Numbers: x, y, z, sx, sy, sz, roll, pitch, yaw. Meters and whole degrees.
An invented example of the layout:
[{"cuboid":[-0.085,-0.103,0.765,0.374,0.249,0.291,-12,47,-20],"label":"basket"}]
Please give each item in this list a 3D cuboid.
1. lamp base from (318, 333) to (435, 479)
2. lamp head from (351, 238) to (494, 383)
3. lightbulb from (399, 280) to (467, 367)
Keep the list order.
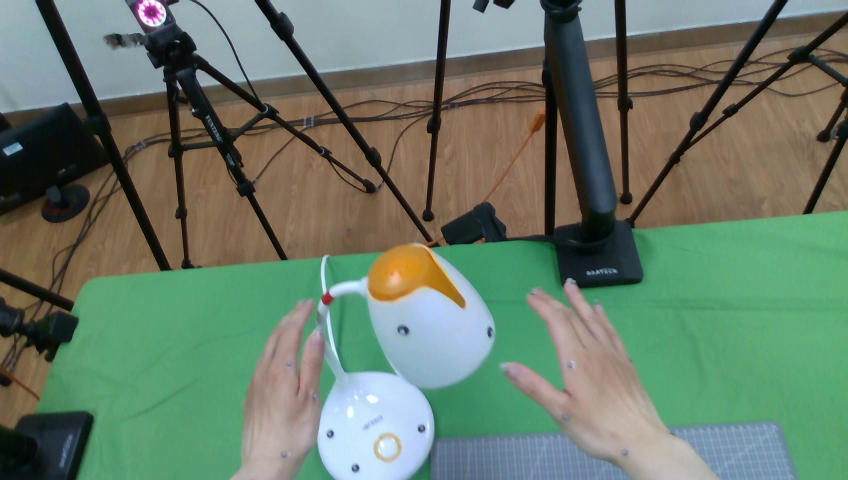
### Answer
[{"cuboid":[-0.084,0.201,0.770,0.160,0.182,0.177,-39,56,-17],"label":"lamp base"},{"cuboid":[-0.007,0.056,0.565,0.112,0.124,0.111,-19,40,18],"label":"lamp head"},{"cuboid":[0.004,0.077,0.575,0.059,0.109,0.059,-15,40,13],"label":"lightbulb"}]
